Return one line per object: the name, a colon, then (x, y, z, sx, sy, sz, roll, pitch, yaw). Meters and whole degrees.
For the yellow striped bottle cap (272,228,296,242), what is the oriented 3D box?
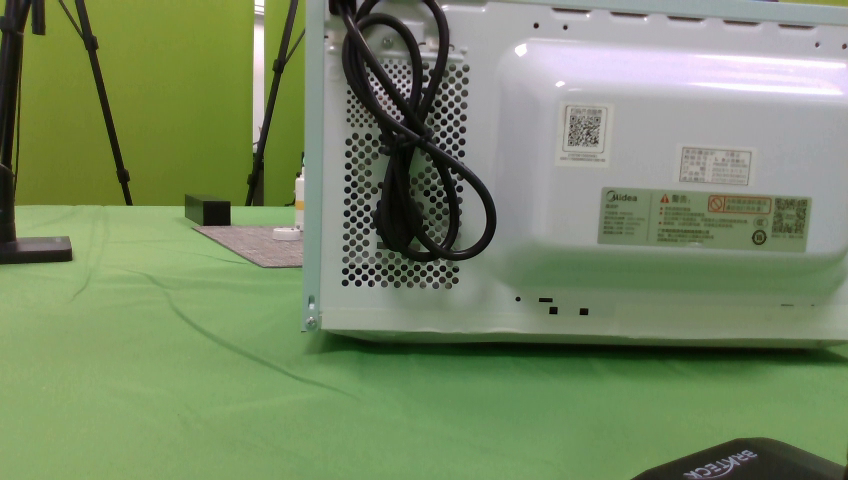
yellow striped bottle cap: (-0.232, -0.008, 1.011, 0.044, 0.018, 0.044, 4, 8, 0)

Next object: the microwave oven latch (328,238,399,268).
microwave oven latch: (-0.069, 0.015, 0.694, 0.079, 0.029, 0.030, 3, 7, -3)

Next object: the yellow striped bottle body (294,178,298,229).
yellow striped bottle body: (-0.213, -0.078, 1.142, 0.063, 0.120, 0.063, 2, 8, 0)

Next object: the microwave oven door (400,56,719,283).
microwave oven door: (0.155, -0.078, 0.698, 0.356, 0.243, 0.039, 2, 8, -5)

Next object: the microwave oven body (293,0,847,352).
microwave oven body: (0.122, -0.055, 0.550, 0.442, 0.260, 0.325, 3, 7, -5)
